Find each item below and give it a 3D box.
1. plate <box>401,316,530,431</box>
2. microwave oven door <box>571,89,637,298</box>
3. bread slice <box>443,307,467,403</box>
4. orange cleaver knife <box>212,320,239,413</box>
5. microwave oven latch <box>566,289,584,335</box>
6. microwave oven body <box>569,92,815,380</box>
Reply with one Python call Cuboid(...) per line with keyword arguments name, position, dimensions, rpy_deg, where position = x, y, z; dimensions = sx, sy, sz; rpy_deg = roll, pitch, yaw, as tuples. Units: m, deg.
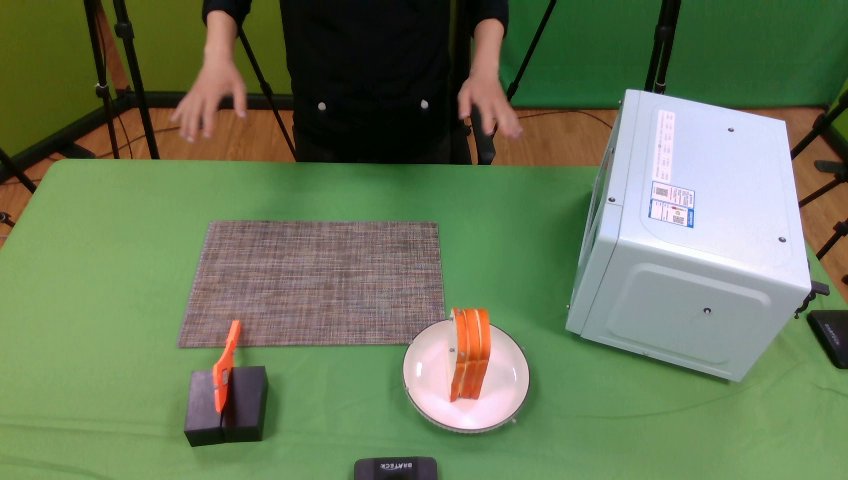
Cuboid(name="plate", position=(0.066, 0.217, 0.982), dimensions=(0.208, 0.039, 0.206), rpy_deg=(2, 46, -2))
Cuboid(name="microwave oven door", position=(0.343, -0.091, 1.133), dimensions=(0.039, 0.245, 0.354), rpy_deg=(15, 47, 10))
Cuboid(name="bread slice", position=(0.048, 0.171, 0.948), dimensions=(0.018, 0.135, 0.106), rpy_deg=(0, 42, -7))
Cuboid(name="orange cleaver knife", position=(-0.306, 0.190, 0.944), dimensions=(0.012, 0.077, 0.210), rpy_deg=(-4, 17, -7))
Cuboid(name="microwave oven latch", position=(0.267, 0.126, 1.059), dimensions=(0.030, 0.029, 0.079), rpy_deg=(15, 46, 11))
Cuboid(name="microwave oven body", position=(0.468, -0.021, 1.082), dimensions=(0.325, 0.261, 0.440), rpy_deg=(15, 46, 11))
